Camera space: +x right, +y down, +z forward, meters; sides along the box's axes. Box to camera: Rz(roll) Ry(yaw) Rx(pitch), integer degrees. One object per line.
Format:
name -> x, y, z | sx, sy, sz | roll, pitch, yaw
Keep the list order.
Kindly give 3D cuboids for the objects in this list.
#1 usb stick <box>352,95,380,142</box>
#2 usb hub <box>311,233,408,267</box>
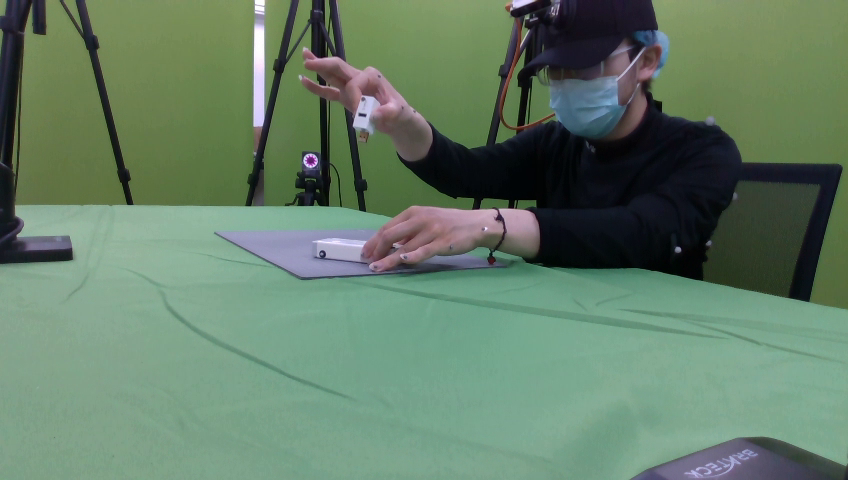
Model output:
usb stick -> -0.079, -0.161, 0.805 | 0.021, 0.059, 0.027 | 14, -3, 19
usb hub -> -0.089, 0.012, 0.828 | 0.125, 0.025, 0.049 | 6, 15, 20
